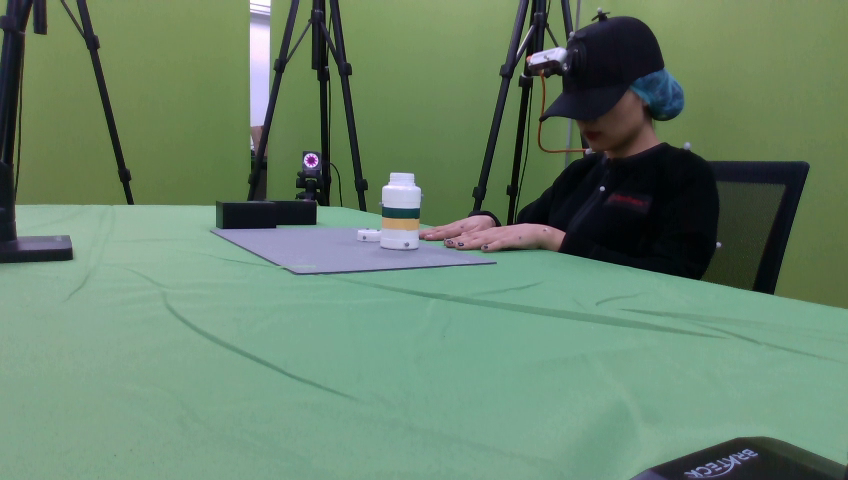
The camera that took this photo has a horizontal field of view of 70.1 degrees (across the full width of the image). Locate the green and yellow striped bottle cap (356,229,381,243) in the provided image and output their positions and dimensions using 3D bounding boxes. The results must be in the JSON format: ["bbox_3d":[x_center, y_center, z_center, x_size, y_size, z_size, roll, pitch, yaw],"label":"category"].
[{"bbox_3d":[-0.094,-0.007,1.040,0.045,0.020,0.045,3,6,0],"label":"green and yellow striped bottle cap"}]

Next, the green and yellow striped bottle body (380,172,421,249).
[{"bbox_3d":[-0.037,-0.048,0.959,0.063,0.119,0.063,3,7,0],"label":"green and yellow striped bottle body"}]
